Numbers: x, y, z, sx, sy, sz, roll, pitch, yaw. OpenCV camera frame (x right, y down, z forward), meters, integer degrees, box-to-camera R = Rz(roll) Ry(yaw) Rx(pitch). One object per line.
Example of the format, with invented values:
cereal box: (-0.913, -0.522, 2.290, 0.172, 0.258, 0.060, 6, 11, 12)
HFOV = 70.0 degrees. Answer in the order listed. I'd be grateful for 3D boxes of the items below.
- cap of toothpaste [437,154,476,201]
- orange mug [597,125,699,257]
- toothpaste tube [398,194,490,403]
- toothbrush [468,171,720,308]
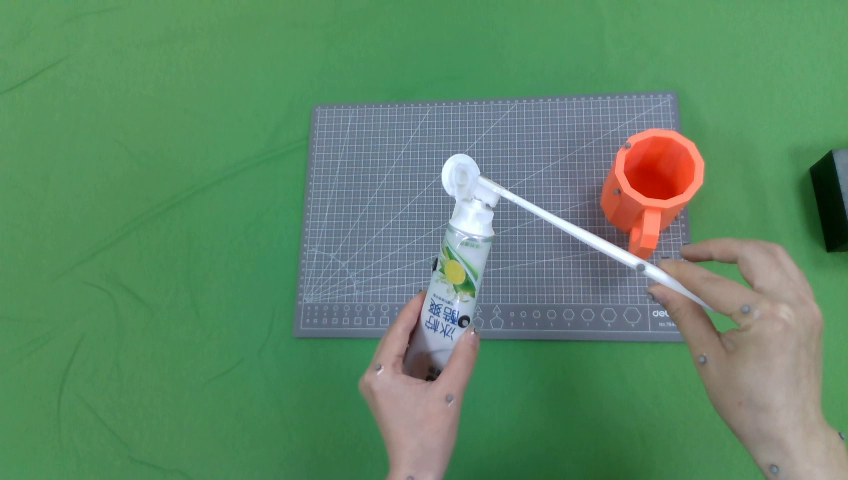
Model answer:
cap of toothpaste: (0.026, -0.047, 0.452, 0.037, 0.011, 0.037, -2, 94, -33)
orange mug: (0.234, -0.046, 0.646, 0.083, 0.101, 0.125, 8, 71, 9)
toothpaste tube: (0.017, 0.043, 0.462, 0.054, 0.034, 0.165, 24, 110, 31)
toothbrush: (0.106, -0.001, 0.404, 0.180, 0.014, 0.016, 30, 98, 20)
